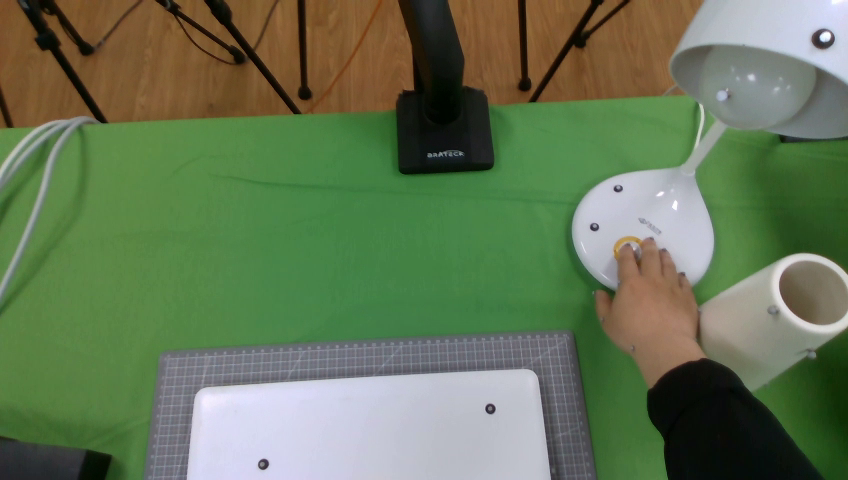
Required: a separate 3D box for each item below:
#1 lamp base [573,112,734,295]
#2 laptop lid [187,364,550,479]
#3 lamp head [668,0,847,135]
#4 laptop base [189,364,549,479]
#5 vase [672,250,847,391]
[{"bbox_3d":[0.259,-0.054,0.639,0.160,0.181,0.178,29,67,13],"label":"lamp base"},{"bbox_3d":[-0.053,0.243,0.582,0.357,0.013,0.240,-1,68,0],"label":"laptop lid"},{"bbox_3d":[0.218,-0.135,0.348,0.112,0.113,0.123,26,86,12],"label":"lamp head"},{"bbox_3d":[-0.053,0.245,0.593,0.354,0.023,0.234,-3,70,-1],"label":"laptop base"},{"bbox_3d":[0.309,0.078,0.570,0.098,0.201,0.097,-1,64,2],"label":"vase"}]
